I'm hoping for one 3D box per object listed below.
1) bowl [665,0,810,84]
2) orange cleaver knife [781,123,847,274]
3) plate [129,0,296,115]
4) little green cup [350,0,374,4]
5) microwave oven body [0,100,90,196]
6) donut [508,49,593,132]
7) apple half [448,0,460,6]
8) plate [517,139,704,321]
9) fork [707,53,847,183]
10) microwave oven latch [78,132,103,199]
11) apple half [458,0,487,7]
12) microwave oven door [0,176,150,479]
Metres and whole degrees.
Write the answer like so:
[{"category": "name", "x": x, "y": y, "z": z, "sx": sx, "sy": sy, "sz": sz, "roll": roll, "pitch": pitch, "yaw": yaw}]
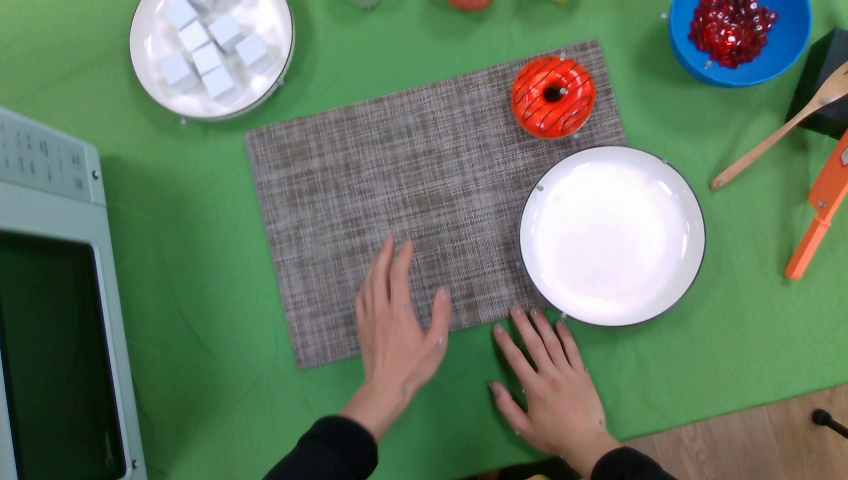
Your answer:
[{"category": "bowl", "x": 0.342, "y": -0.243, "z": 0.692, "sx": 0.151, "sy": 0.077, "sz": 0.151, "roll": 0, "pitch": 87, "yaw": 4}, {"category": "orange cleaver knife", "x": 0.448, "y": -0.062, "z": 0.669, "sx": 0.012, "sy": 0.077, "sz": 0.212, "roll": 17, "pitch": 117, "yaw": 4}, {"category": "plate", "x": -0.259, "y": -0.254, "z": 0.755, "sx": 0.207, "sy": 0.039, "sz": 0.207, "roll": 0, "pitch": 86, "yaw": 4}, {"category": "little green cup", "x": -0.078, "y": -0.324, "z": 0.747, "sx": 0.061, "sy": 0.039, "sz": 0.061, "roll": 0, "pitch": 86, "yaw": 5}, {"category": "microwave oven body", "x": -0.533, "y": 0.105, "z": 0.634, "sx": 0.326, "sy": 0.260, "sz": 0.440, "roll": -11, "pitch": 86, "yaw": 3}, {"category": "donut", "x": 0.148, "y": -0.176, "z": 0.713, "sx": 0.099, "sy": 0.048, "sz": 0.099, "roll": 0, "pitch": 87, "yaw": 6}, {"category": "apple half", "x": 0.042, "y": -0.327, "z": 0.721, "sx": 0.053, "sy": 0.075, "sz": 0.081, "roll": 36, "pitch": 92, "yaw": 10}, {"category": "plate", "x": 0.211, "y": -0.011, "z": 0.701, "sx": 0.209, "sy": 0.038, "sz": 0.208, "roll": 0, "pitch": 86, "yaw": 4}, {"category": "fork", "x": 0.404, "y": -0.135, "z": 0.675, "sx": 0.028, "sy": 0.018, "sz": 0.207, "roll": 46, "pitch": 110, "yaw": 0}, {"category": "microwave oven latch", "x": -0.415, "y": -0.089, "z": 0.736, "sx": 0.030, "sy": 0.029, "sz": 0.079, "roll": -10, "pitch": 86, "yaw": 3}, {"category": "apple half", "x": 0.074, "y": -0.305, "z": 0.717, "sx": 0.032, "sy": 0.081, "sz": 0.081, "roll": 36, "pitch": 89, "yaw": 10}, {"category": "microwave oven door", "x": -0.383, "y": 0.117, "z": 0.617, "sx": 0.039, "sy": 0.244, "sz": 0.355, "roll": -12, "pitch": 85, "yaw": 3}]
